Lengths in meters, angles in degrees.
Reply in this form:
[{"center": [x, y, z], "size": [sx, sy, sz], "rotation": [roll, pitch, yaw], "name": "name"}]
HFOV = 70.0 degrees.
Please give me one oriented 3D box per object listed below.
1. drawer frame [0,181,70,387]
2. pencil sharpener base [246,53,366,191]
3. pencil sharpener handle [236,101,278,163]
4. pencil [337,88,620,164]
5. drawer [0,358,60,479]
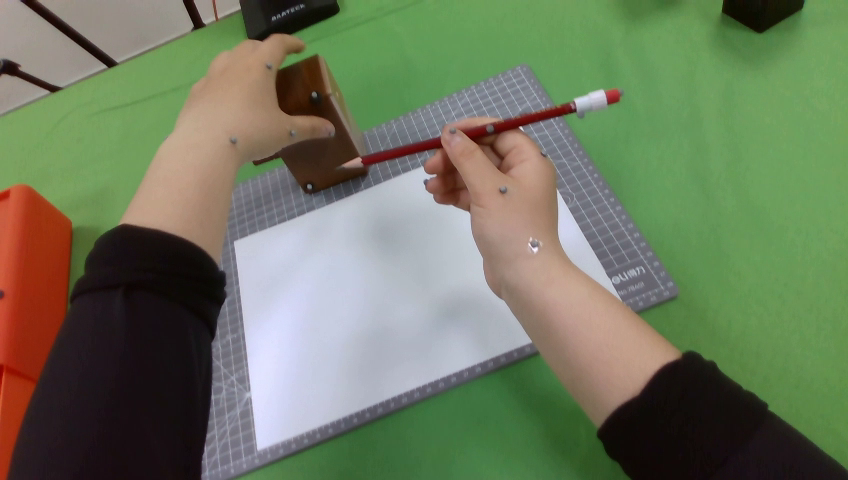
[{"center": [-0.448, 0.076, 0.567], "size": [0.202, 0.083, 0.211], "rotation": [-23, 53, 1], "name": "drawer frame"}, {"center": [-0.109, -0.106, 0.568], "size": [0.076, 0.108, 0.060], "rotation": [-21, 54, 4], "name": "pencil sharpener base"}, {"center": [-0.160, -0.096, 0.562], "size": [0.030, 0.068, 0.035], "rotation": [-21, 60, 4], "name": "pencil sharpener handle"}, {"center": [0.033, -0.074, 0.406], "size": [0.194, 0.012, 0.012], "rotation": [-13, 54, 7], "name": "pencil"}, {"center": [-0.412, 0.164, 0.500], "size": [0.194, 0.074, 0.209], "rotation": [-23, 53, 1], "name": "drawer"}]
